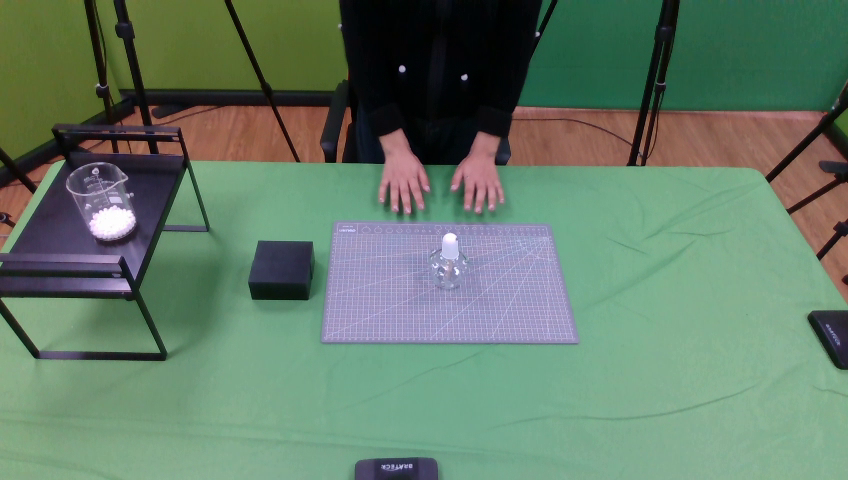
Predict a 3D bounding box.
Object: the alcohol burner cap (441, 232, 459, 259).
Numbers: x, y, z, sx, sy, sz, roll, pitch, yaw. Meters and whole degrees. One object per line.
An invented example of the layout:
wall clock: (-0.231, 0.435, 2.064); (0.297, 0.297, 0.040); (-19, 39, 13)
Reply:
alcohol burner cap: (0.046, 0.007, 1.075); (0.034, 0.048, 0.033); (0, 42, 0)

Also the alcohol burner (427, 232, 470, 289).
alcohol burner: (0.045, 0.032, 1.099); (0.078, 0.120, 0.077); (0, 46, 0)

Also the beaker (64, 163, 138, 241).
beaker: (-0.478, -0.055, 0.910); (0.084, 0.101, 0.073); (-9, 48, -13)
